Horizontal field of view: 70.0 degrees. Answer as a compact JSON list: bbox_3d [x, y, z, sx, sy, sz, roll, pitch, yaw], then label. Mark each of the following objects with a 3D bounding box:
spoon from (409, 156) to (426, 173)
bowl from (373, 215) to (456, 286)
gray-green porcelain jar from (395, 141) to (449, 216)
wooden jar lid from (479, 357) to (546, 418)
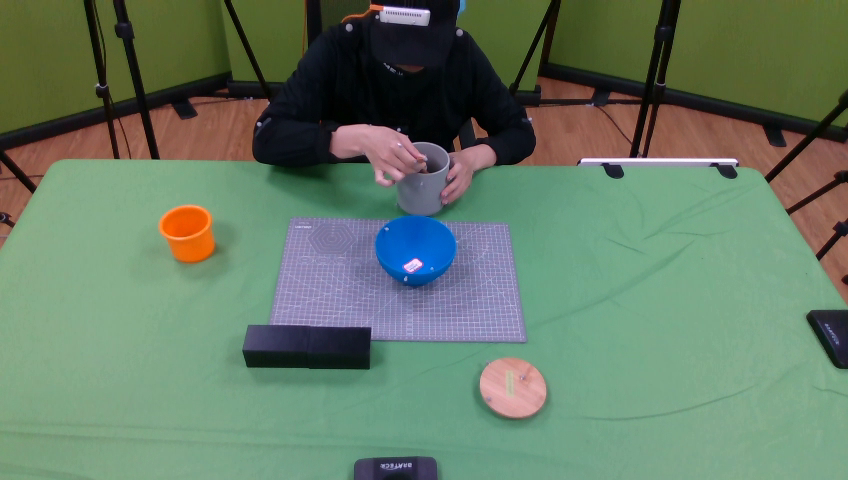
[{"bbox_3d":[-0.010,-0.145,1.173,0.041,0.194,0.021,19,85,0],"label":"spoon"},{"bbox_3d":[-0.019,0.032,1.122,0.151,0.077,0.150,2,46,-2],"label":"bowl"},{"bbox_3d":[-0.007,-0.120,1.241,0.106,0.127,0.105,2,46,-2],"label":"gray-green porcelain jar"},{"bbox_3d":[0.142,0.240,0.979,0.108,0.021,0.107,1,46,-1],"label":"wooden jar lid"}]
